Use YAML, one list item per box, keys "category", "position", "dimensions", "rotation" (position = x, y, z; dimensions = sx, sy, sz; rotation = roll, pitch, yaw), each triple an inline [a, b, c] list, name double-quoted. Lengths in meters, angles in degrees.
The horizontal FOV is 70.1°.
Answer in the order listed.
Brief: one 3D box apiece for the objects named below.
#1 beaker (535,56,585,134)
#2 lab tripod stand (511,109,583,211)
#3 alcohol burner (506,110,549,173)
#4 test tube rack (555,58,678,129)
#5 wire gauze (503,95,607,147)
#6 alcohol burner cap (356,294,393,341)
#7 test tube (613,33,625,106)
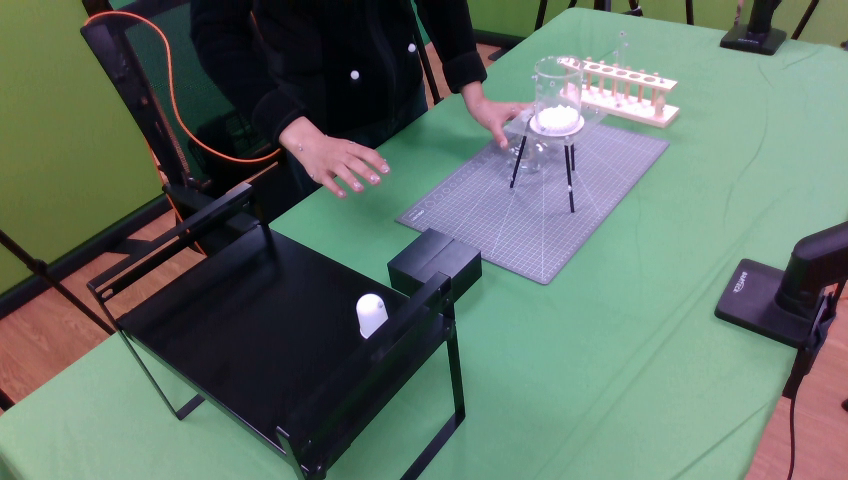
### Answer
- category: "beaker"
  position: [0.209, -0.226, 0.942]
  dimensions: [0.074, 0.101, 0.083]
  rotation: [-2, 41, 7]
- category: "lab tripod stand"
  position: [0.220, -0.138, 1.014]
  dimensions: [0.148, 0.132, 0.147]
  rotation: [-3, 41, 3]
- category: "alcohol burner"
  position: [0.186, -0.181, 1.086]
  dimensions: [0.078, 0.119, 0.077]
  rotation: [-5, 42, 5]
- category: "test tube rack"
  position: [0.389, -0.307, 1.229]
  dimensions: [0.240, 0.085, 0.067]
  rotation: [25, 51, 33]
- category: "wire gauze"
  position: [0.212, -0.191, 0.976]
  dimensions: [0.120, 0.011, 0.125]
  rotation: [24, 52, 32]
- category: "alcohol burner cap"
  position: [-0.051, 0.074, 0.601]
  dimensions: [0.034, 0.048, 0.033]
  rotation: [-5, 42, 5]
- category: "test tube"
  position: [0.380, -0.330, 1.180]
  dimensions: [0.017, 0.151, 0.017]
  rotation: [-7, 42, 6]
